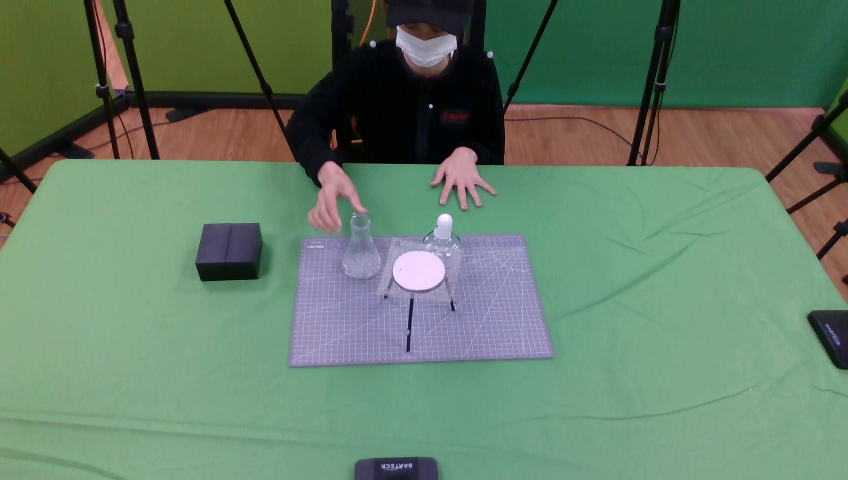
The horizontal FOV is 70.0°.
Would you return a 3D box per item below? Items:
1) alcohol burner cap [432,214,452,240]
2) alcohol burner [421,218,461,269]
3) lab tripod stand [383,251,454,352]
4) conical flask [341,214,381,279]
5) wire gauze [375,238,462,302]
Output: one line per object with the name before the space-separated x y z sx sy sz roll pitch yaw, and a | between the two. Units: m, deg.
alcohol burner cap | 0.035 -0.027 1.110 0.034 0.048 0.033 7 42 -6
alcohol burner | 0.033 -0.001 1.135 0.078 0.119 0.077 3 48 -3
lab tripod stand | -0.015 0.094 1.025 0.148 0.132 0.147 1 46 -1
conical flask | -0.116 0.009 1.107 0.075 0.122 0.075 2 46 -2
wire gauze | -0.006 0.048 0.977 0.121 0.011 0.124 9 45 5
